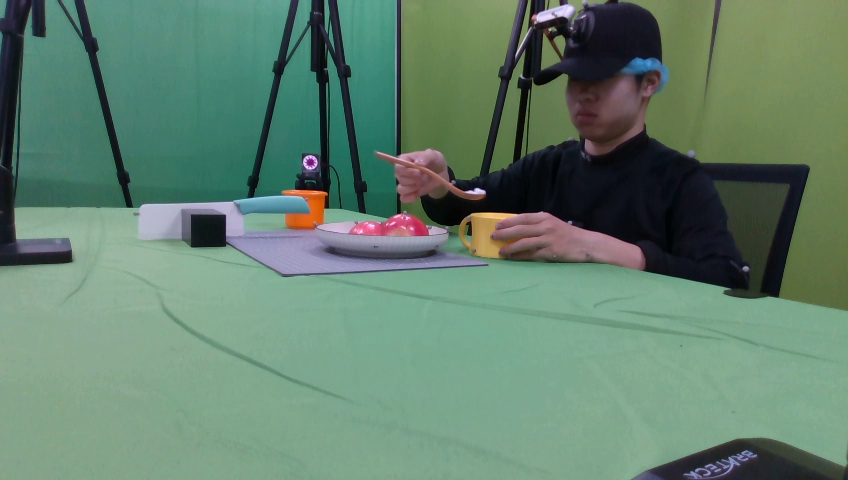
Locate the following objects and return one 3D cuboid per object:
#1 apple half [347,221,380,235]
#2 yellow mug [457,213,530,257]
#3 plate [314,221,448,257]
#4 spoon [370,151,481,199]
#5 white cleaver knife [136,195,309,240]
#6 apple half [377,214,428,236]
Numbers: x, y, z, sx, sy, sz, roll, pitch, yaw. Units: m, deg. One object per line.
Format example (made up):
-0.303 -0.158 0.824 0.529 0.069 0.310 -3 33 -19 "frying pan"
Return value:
-0.088 -0.014 0.985 0.081 0.033 0.081 5 6 0 "apple half"
0.109 -0.010 0.992 0.130 0.064 0.100 5 6 36 "yellow mug"
-0.067 -0.002 0.948 0.209 0.038 0.209 3 7 0 "plate"
0.001 -0.107 0.976 0.193 0.021 0.041 27 8 7 "spoon"
-0.337 -0.039 1.037 0.288 0.066 0.021 -6 15 -29 "white cleaver knife"
-0.034 -0.013 0.924 0.080 0.053 0.075 5 10 16 "apple half"
